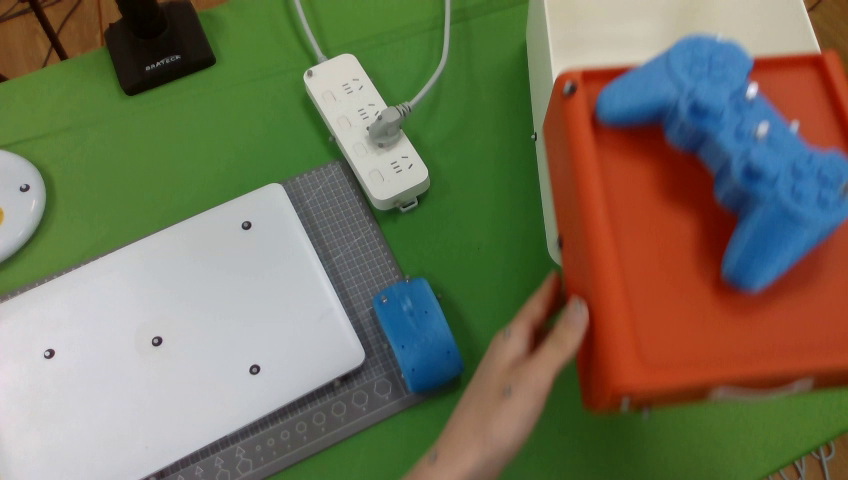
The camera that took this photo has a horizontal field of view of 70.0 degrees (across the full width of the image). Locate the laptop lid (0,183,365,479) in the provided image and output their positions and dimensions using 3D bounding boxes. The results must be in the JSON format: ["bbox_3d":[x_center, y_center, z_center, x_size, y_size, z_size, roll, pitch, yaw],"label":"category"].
[{"bbox_3d":[-0.264,0.102,0.608,0.357,0.013,0.240,-25,70,-9],"label":"laptop lid"}]

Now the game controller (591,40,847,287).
[{"bbox_3d":[0.185,-0.057,0.369,0.097,0.052,0.154,-26,69,-15],"label":"game controller"}]

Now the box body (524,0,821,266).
[{"bbox_3d":[0.246,-0.157,0.645,0.254,0.161,0.361,-2,66,1],"label":"box body"}]

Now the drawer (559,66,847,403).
[{"bbox_3d":[0.195,-0.006,0.403,0.194,0.074,0.210,-6,66,1],"label":"drawer"}]

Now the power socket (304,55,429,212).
[{"bbox_3d":[-0.070,-0.131,0.714,0.072,0.033,0.225,-26,67,-12],"label":"power socket"}]

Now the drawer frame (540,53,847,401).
[{"bbox_3d":[0.194,-0.009,0.404,0.202,0.083,0.212,-5,66,0],"label":"drawer frame"}]

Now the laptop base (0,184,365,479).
[{"bbox_3d":[-0.264,0.105,0.620,0.354,0.023,0.234,-26,71,-10],"label":"laptop base"}]

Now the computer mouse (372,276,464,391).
[{"bbox_3d":[-0.008,0.090,0.607,0.063,0.041,0.116,-22,63,-6],"label":"computer mouse"}]

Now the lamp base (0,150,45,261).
[{"bbox_3d":[-0.526,-0.071,0.619,0.178,0.182,0.160,21,67,14],"label":"lamp base"}]

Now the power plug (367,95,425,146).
[{"bbox_3d":[-0.029,-0.128,0.686,0.072,0.053,0.035,-16,65,-7],"label":"power plug"}]
